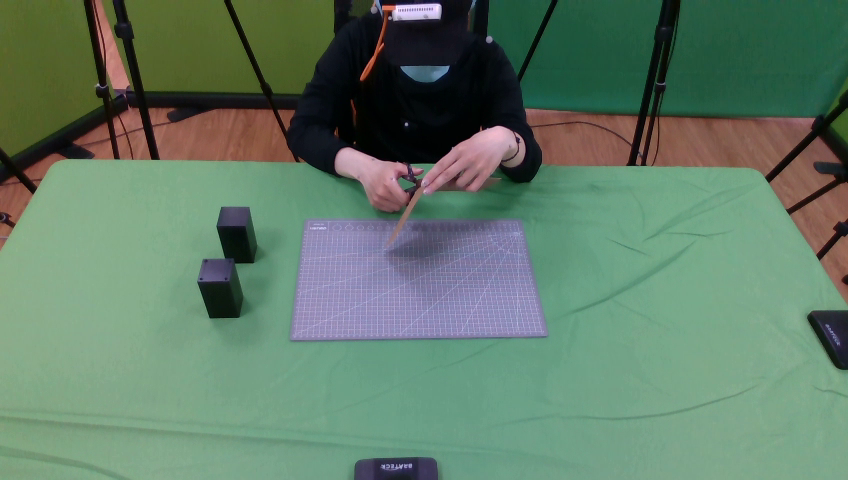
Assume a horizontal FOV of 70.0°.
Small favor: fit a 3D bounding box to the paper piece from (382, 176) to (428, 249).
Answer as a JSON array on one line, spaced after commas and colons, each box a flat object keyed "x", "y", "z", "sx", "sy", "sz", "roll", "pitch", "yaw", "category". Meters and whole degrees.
[{"x": -0.038, "y": -0.049, "z": 1.122, "sx": 0.004, "sy": 0.135, "sz": 0.135, "roll": 30, "pitch": 77, "yaw": -7, "category": "paper piece"}]

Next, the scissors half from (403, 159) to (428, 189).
[{"x": -0.017, "y": -0.124, "z": 1.170, "sx": 0.013, "sy": 0.040, "sz": 0.174, "roll": -16, "pitch": 25, "yaw": -10, "category": "scissors half"}]

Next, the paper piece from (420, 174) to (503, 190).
[{"x": 0.066, "y": -0.109, "z": 1.156, "sx": 0.138, "sy": 0.136, "sz": 0.008, "roll": -4, "pitch": 87, "yaw": -14, "category": "paper piece"}]

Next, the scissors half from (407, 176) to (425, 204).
[{"x": -0.013, "y": -0.101, "z": 1.173, "sx": 0.013, "sy": 0.175, "sz": 0.040, "roll": -12, "pitch": 83, "yaw": -11, "category": "scissors half"}]
